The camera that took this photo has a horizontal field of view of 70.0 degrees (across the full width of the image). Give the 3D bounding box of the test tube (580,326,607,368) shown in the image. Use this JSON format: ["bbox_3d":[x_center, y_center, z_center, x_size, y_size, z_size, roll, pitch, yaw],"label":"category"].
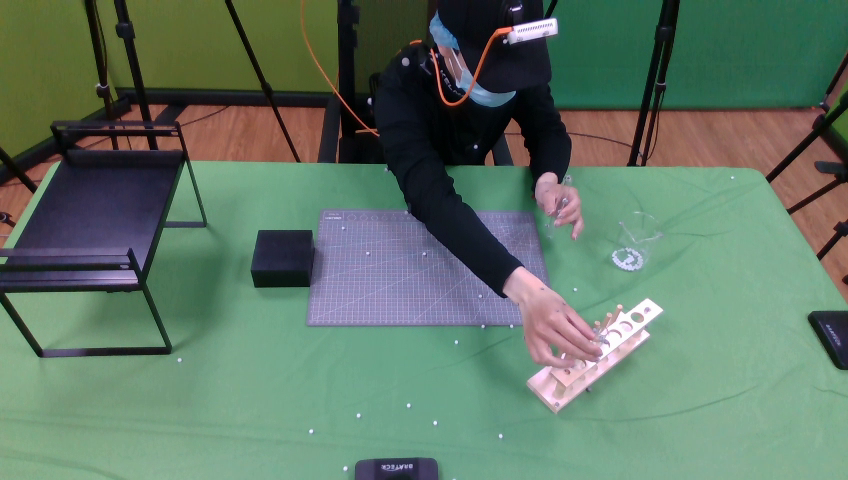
[{"bbox_3d":[0.260,0.169,0.931,0.017,0.151,0.017,-1,58,3],"label":"test tube"}]

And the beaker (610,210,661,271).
[{"bbox_3d":[0.405,0.005,1.169,0.074,0.101,0.083,19,49,15],"label":"beaker"}]

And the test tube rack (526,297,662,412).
[{"bbox_3d":[0.284,0.176,1.007,0.242,0.085,0.066,-29,54,-27],"label":"test tube rack"}]

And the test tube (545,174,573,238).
[{"bbox_3d":[0.245,-0.058,1.105,0.017,0.151,0.017,4,45,-4],"label":"test tube"}]
